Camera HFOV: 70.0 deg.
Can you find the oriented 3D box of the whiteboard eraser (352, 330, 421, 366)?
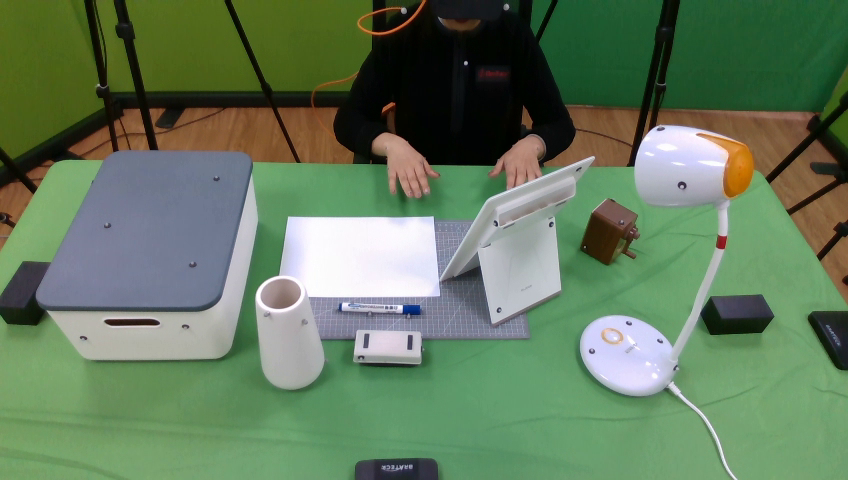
[{"bbox_3d":[-0.061,0.180,1.005,0.113,0.042,0.055,3,48,-3],"label":"whiteboard eraser"}]

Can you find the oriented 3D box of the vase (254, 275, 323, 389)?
[{"bbox_3d":[-0.209,0.142,0.921,0.098,0.201,0.097,1,46,-1],"label":"vase"}]

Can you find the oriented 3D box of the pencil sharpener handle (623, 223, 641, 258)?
[{"bbox_3d":[0.399,0.002,1.146,0.030,0.068,0.036,35,45,26],"label":"pencil sharpener handle"}]

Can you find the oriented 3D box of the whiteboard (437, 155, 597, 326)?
[{"bbox_3d":[0.180,0.023,1.029,0.217,0.306,0.143,-21,71,-23],"label":"whiteboard"}]

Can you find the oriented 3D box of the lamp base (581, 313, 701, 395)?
[{"bbox_3d":[0.361,0.144,0.973,0.178,0.181,0.160,34,53,23],"label":"lamp base"}]

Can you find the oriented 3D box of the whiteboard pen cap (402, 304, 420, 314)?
[{"bbox_3d":[-0.024,0.123,1.076,0.033,0.018,0.018,1,46,1],"label":"whiteboard pen cap"}]

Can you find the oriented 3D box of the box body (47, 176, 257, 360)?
[{"bbox_3d":[-0.441,0.022,1.046,0.254,0.161,0.361,0,46,-5],"label":"box body"}]

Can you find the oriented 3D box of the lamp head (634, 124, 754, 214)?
[{"bbox_3d":[0.351,-0.089,0.776,0.112,0.113,0.122,-30,30,-28],"label":"lamp head"}]

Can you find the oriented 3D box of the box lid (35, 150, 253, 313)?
[{"bbox_3d":[-0.437,-0.032,0.994,0.263,0.015,0.369,0,46,-5],"label":"box lid"}]

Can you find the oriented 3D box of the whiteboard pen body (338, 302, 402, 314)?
[{"bbox_3d":[-0.083,0.121,1.074,0.141,0.017,0.017,3,46,-2],"label":"whiteboard pen body"}]

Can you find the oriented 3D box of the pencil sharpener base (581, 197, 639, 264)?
[{"bbox_3d":[0.362,-0.016,1.178,0.076,0.107,0.061,35,53,26],"label":"pencil sharpener base"}]
